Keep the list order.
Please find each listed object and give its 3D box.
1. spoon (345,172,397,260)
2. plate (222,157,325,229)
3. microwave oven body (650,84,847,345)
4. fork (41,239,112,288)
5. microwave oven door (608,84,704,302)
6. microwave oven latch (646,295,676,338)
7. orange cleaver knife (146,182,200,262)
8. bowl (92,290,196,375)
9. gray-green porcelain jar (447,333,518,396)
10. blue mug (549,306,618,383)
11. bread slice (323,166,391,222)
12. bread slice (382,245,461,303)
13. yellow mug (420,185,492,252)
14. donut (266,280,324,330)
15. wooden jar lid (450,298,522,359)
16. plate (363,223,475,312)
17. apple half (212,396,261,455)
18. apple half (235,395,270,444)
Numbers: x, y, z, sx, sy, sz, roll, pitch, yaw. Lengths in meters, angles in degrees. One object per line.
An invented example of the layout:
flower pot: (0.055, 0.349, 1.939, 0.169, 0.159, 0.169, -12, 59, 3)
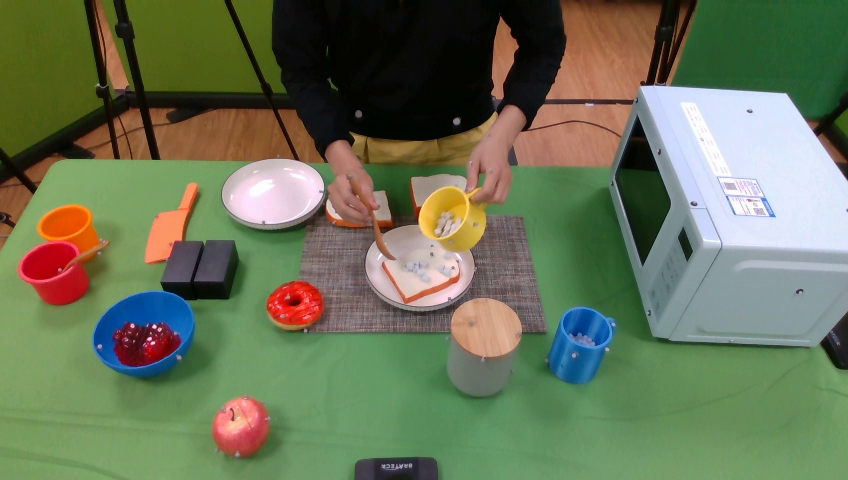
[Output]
spoon: (-0.089, -0.038, 1.026, 0.021, 0.195, 0.041, -31, 35, -14)
plate: (-0.307, -0.094, 1.251, 0.209, 0.038, 0.208, 2, 46, -2)
microwave oven body: (0.569, -0.054, 1.116, 0.326, 0.261, 0.439, 2, 46, -1)
fork: (-0.591, 0.040, 1.028, 0.207, 0.019, 0.028, -27, 36, 29)
microwave oven door: (0.424, -0.096, 1.138, 0.039, 0.245, 0.353, 2, 47, -1)
microwave oven latch: (0.413, 0.133, 1.061, 0.030, 0.029, 0.078, 4, 46, 1)
orange cleaver knife: (-0.494, -0.039, 1.198, 0.077, 0.012, 0.210, -3, 48, 2)
bowl: (-0.436, 0.161, 0.971, 0.151, 0.077, 0.150, 2, 46, -2)
gray-green porcelain jar: (0.091, 0.178, 0.960, 0.106, 0.127, 0.105, 2, 46, -2)
blue mug: (0.269, 0.167, 0.997, 0.116, 0.106, 0.082, -19, 51, -21)
bread slice: (-0.140, -0.092, 1.224, 0.134, 0.018, 0.106, -19, 51, 5)
bread slice: (0.001, 0.054, 1.129, 0.131, 0.019, 0.104, -20, 51, -20)
yellow mug: (0.062, -0.047, 1.044, 0.131, 0.064, 0.099, -40, 51, 13)
donut: (-0.223, 0.113, 1.051, 0.099, 0.048, 0.098, 2, 45, -2)
wooden jar lid: (0.093, 0.135, 0.914, 0.108, 0.021, 0.107, 3, 48, -3)
plate: (-0.009, 0.054, 1.127, 0.208, 0.039, 0.206, 2, 47, -2)
apple half: (-0.276, 0.276, 0.877, 0.053, 0.075, 0.080, -29, 58, -21)
apple half: (-0.245, 0.259, 0.893, 0.033, 0.082, 0.081, -29, 55, -22)
